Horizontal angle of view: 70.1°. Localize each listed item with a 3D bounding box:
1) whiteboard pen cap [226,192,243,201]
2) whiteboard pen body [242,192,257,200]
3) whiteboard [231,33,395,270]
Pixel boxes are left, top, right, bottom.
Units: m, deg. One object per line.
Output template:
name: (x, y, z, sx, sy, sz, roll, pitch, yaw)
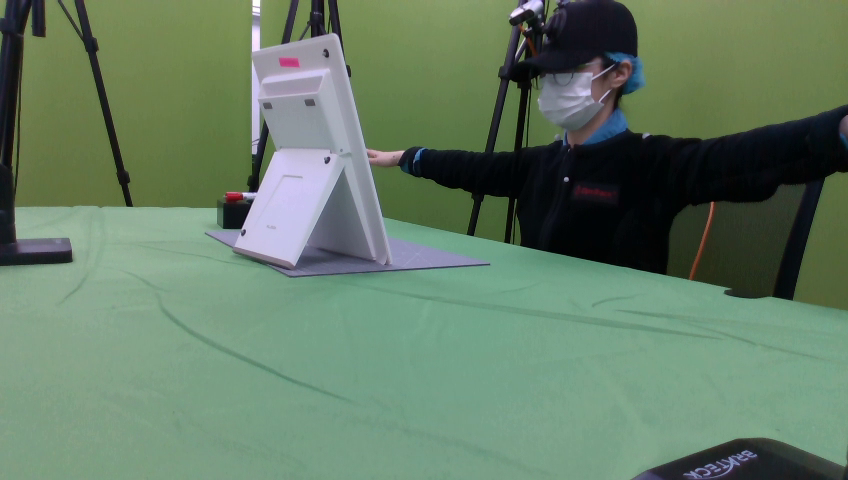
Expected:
whiteboard pen cap: (-0.379, -0.088, 1.215, 0.032, 0.017, 0.017, -6, 11, -38)
whiteboard pen body: (-0.331, -0.091, 1.248, 0.141, 0.017, 0.017, -4, 9, -35)
whiteboard: (-0.193, -0.094, 0.805, 0.144, 0.305, 0.216, -28, 25, -35)
